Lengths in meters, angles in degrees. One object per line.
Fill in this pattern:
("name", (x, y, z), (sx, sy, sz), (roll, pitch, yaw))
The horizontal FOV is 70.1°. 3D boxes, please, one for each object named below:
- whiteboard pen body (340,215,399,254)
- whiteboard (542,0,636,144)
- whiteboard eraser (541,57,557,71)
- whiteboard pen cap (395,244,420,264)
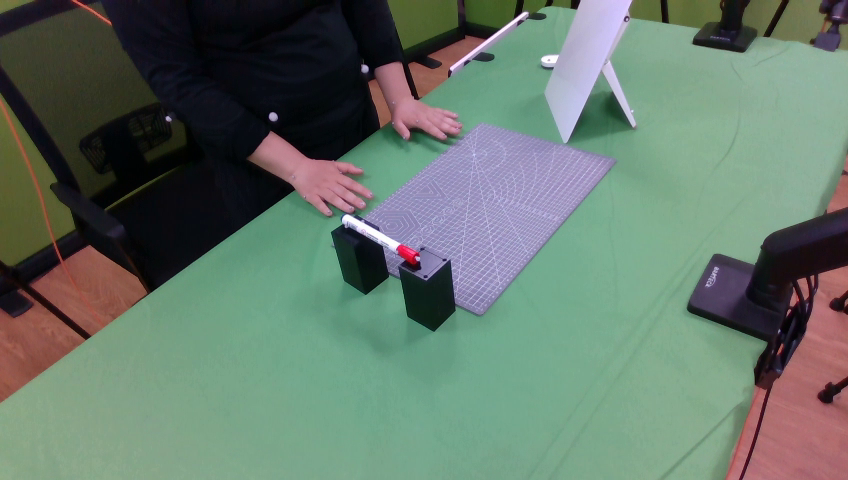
("whiteboard pen body", (-0.067, -0.004, 0.835), (0.139, 0.017, 0.017), (28, 51, 33))
("whiteboard", (0.366, -0.351, 1.160), (0.144, 0.305, 0.216), (10, 39, -10))
("whiteboard eraser", (0.323, -0.412, 1.407), (0.101, 0.019, 0.041), (1, 42, 11))
("whiteboard pen cap", (-0.022, 0.018, 0.800), (0.032, 0.017, 0.017), (29, 52, 36))
